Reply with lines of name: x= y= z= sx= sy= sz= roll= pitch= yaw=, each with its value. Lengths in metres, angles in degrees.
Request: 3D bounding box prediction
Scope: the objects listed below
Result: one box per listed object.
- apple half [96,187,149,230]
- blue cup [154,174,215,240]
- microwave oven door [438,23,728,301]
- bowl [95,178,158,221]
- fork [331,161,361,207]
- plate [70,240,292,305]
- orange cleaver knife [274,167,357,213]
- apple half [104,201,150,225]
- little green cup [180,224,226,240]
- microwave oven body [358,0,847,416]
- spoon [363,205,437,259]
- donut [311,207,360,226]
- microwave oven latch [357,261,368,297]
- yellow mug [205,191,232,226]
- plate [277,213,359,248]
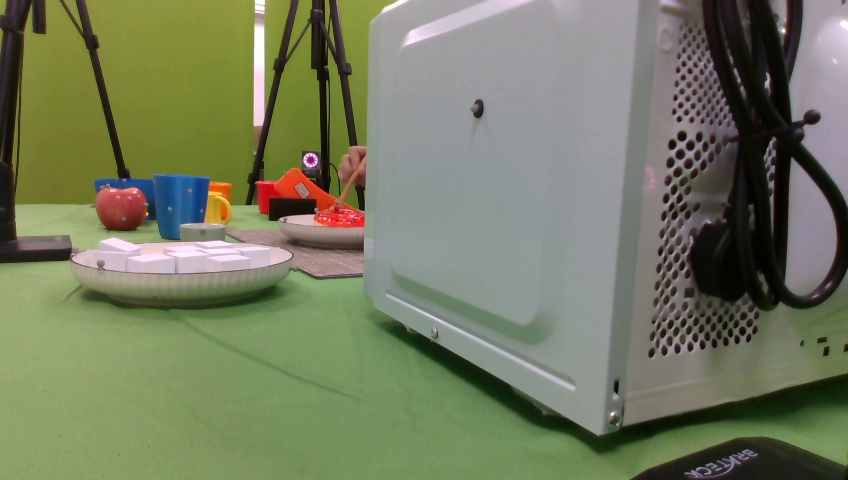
apple half: x=-0.516 y=-0.052 z=1.036 sx=0.081 sy=0.074 sz=0.053 roll=3 pitch=11 yaw=-27
blue cup: x=-0.391 y=-0.054 z=0.978 sx=0.093 sy=0.100 sz=0.092 roll=4 pitch=6 yaw=0
microwave oven door: x=0.181 y=-0.072 z=0.621 sx=0.358 sy=0.243 sz=0.039 roll=-2 pitch=8 yaw=-29
bowl: x=-0.576 y=-0.081 z=1.217 sx=0.151 sy=0.077 sz=0.151 roll=3 pitch=8 yaw=0
fork: x=-0.137 y=-0.104 z=1.122 sx=0.028 sy=0.207 sz=0.019 roll=28 pitch=-5 yaw=33
plate: x=-0.242 y=0.031 z=0.618 sx=0.208 sy=0.039 sz=0.207 roll=2 pitch=8 yaw=0
orange cleaver knife: x=-0.238 y=-0.091 z=1.381 sx=0.212 sy=0.077 sz=0.012 roll=31 pitch=0 yaw=-19
apple half: x=-0.548 y=-0.044 z=1.115 sx=0.081 sy=0.033 sz=0.081 roll=18 pitch=6 yaw=-2
little green cup: x=-0.309 y=-0.001 z=0.846 sx=0.061 sy=0.038 sz=0.061 roll=2 pitch=8 yaw=0
microwave oven body: x=0.211 y=-0.047 z=0.474 sx=0.444 sy=0.260 sz=0.324 roll=-1 pitch=7 yaw=-28
spoon: x=-0.028 y=-0.018 z=0.889 sx=0.041 sy=0.021 sz=0.194 roll=-43 pitch=0 yaw=39
donut: x=-0.137 y=-0.029 z=0.995 sx=0.099 sy=0.048 sz=0.099 roll=4 pitch=9 yaw=0
microwave oven latch: x=-0.019 y=0.033 z=0.530 sx=0.079 sy=0.029 sz=0.030 roll=-1 pitch=7 yaw=-27
yellow mug: x=-0.415 y=-0.057 z=1.131 sx=0.130 sy=0.064 sz=0.100 roll=6 pitch=8 yaw=16
plate: x=-0.135 y=-0.017 z=0.993 sx=0.209 sy=0.038 sz=0.209 roll=3 pitch=8 yaw=0
